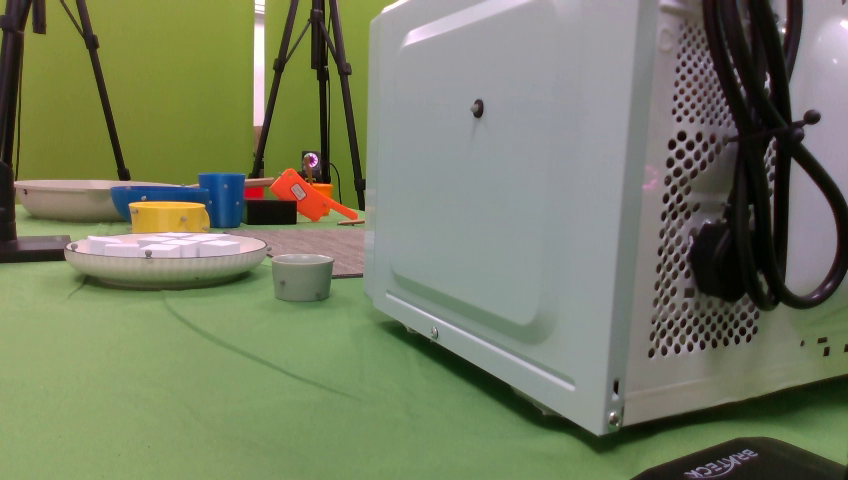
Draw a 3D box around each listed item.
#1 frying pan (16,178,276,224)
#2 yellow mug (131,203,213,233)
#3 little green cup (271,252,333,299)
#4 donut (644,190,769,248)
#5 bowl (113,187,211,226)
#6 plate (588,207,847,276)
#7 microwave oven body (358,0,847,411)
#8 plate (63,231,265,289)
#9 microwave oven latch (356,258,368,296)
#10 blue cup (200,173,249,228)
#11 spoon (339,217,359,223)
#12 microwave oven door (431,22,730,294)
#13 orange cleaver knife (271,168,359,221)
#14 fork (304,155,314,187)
[{"bbox_3d":[-0.553,-0.096,1.266,0.490,0.102,0.305,-10,13,-24],"label":"frying pan"},{"bbox_3d":[-0.355,-0.020,0.878,0.099,0.064,0.131,4,7,22],"label":"yellow mug"},{"bbox_3d":[-0.122,0.035,0.604,0.061,0.038,0.061,3,6,0],"label":"little green cup"},{"bbox_3d":[0.239,-0.017,0.517,0.099,0.048,0.099,2,3,0],"label":"donut"},{"bbox_3d":[-0.436,-0.046,1.013,0.151,0.077,0.151,3,7,0],"label":"bowl"},{"bbox_3d":[0.245,-0.001,0.511,0.209,0.038,0.209,2,7,0],"label":"plate"},{"bbox_3d":[0.210,-0.051,0.471,0.444,0.260,0.324,-1,7,-28],"label":"microwave oven body"},{"bbox_3d":[-0.288,0.021,0.687,0.208,0.039,0.207,2,8,0],"label":"plate"},{"bbox_3d":[-0.019,0.031,0.528,0.079,0.029,0.030,-1,7,-24],"label":"microwave oven latch"},{"bbox_3d":[-0.381,-0.076,1.154,0.093,0.100,0.092,0,8,0],"label":"blue cup"},{"bbox_3d":[-0.087,-0.041,1.268,0.193,0.021,0.041,4,24,13],"label":"spoon"},{"bbox_3d":[0.178,-0.077,0.624,0.357,0.243,0.039,-2,8,-26],"label":"microwave oven door"},{"bbox_3d":[-0.236,-0.084,1.333,0.212,0.077,0.012,31,-10,-32],"label":"orange cleaver knife"},{"bbox_3d":[-0.268,-0.134,1.446,0.028,0.018,0.207,1,-36,-1],"label":"fork"}]
